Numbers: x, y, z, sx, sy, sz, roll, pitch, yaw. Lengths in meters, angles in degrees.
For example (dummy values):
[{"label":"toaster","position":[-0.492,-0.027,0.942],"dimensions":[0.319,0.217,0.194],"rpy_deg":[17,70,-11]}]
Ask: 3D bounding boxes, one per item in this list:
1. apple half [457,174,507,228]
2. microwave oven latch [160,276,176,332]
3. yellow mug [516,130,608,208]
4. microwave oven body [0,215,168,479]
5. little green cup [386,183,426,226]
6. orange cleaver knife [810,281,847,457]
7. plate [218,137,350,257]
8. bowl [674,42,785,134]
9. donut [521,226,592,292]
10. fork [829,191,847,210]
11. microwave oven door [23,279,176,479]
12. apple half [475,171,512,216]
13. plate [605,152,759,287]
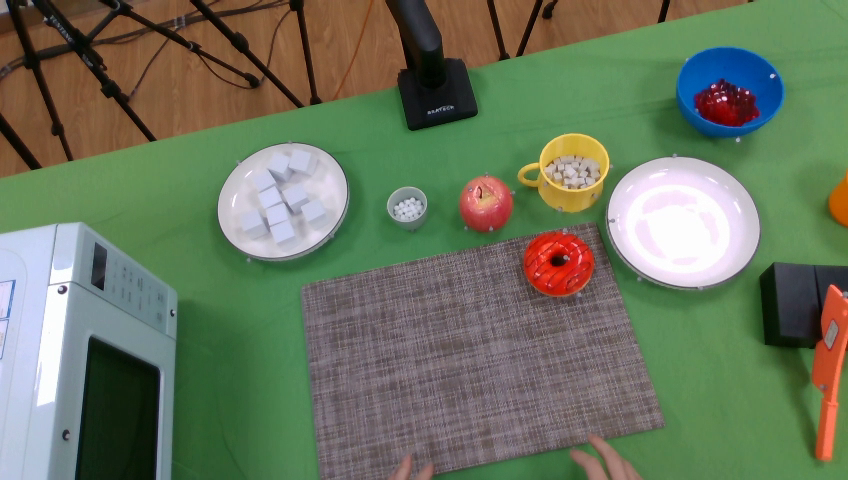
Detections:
[{"label":"apple half","position":[0.079,-0.049,0.892],"dimensions":[0.053,0.075,0.080],"rpy_deg":[-38,71,-5]},{"label":"microwave oven latch","position":[-0.378,0.095,0.880],"dimensions":[0.030,0.030,0.078],"rpy_deg":[-8,66,3]},{"label":"yellow mug","position":[0.203,-0.104,0.905],"dimensions":[0.131,0.064,0.099],"rpy_deg":[-3,66,7]},{"label":"microwave oven body","position":[-0.512,0.238,0.725],"dimensions":[0.326,0.262,0.438],"rpy_deg":[-9,66,2]},{"label":"little green cup","position":[-0.025,-0.052,0.924],"dimensions":[0.061,0.039,0.061],"rpy_deg":[-3,66,6]},{"label":"orange cleaver knife","position":[0.492,0.157,0.741],"dimensions":[0.012,0.077,0.212],"rpy_deg":[5,99,11]},{"label":"plate","position":[-0.216,-0.065,0.953],"dimensions":[0.207,0.039,0.206],"rpy_deg":[-2,66,6]},{"label":"bowl","position":[0.449,-0.214,0.917],"dimensions":[0.151,0.077,0.150],"rpy_deg":[-3,66,6]},{"label":"donut","position":[0.187,0.027,0.856],"dimensions":[0.099,0.048,0.098],"rpy_deg":[-3,67,8]},{"label":"fork","position":[0.650,-0.084,0.795],"dimensions":[0.207,0.019,0.028],"rpy_deg":[-28,52,44]},{"label":"microwave oven door","position":[-0.363,0.249,0.697],"dimensions":[0.039,0.246,0.352],"rpy_deg":[-10,65,3]},{"label":"apple half","position":[0.109,-0.073,0.897],"dimensions":[0.033,0.082,0.080],"rpy_deg":[-39,67,-5]},{"label":"plate","position":[0.364,-0.028,0.867],"dimensions":[0.209,0.038,0.207],"rpy_deg":[-3,66,6]}]
